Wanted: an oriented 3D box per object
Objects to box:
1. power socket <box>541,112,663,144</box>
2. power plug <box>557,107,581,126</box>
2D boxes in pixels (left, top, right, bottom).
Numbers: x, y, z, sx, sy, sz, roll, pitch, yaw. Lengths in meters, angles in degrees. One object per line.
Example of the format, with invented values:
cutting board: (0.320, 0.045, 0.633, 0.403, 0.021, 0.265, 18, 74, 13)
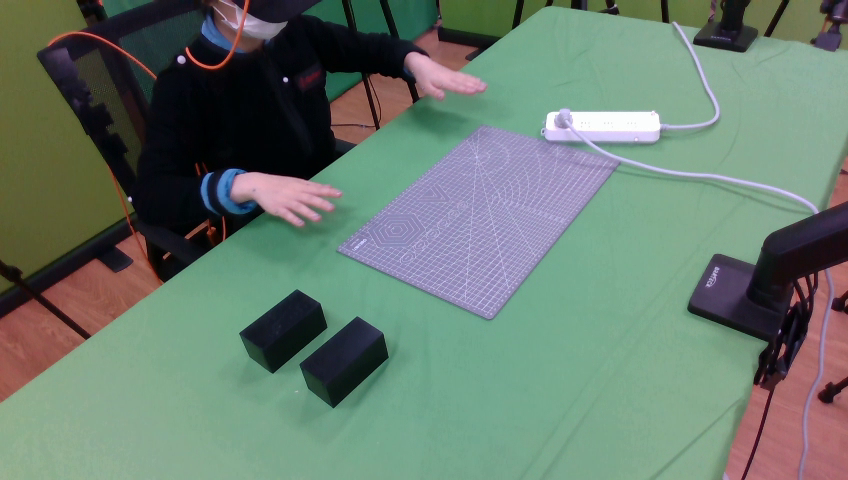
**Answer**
power socket: (0.341, -0.217, 1.164, 0.226, 0.033, 0.072, 4, 43, 12)
power plug: (0.286, -0.238, 1.162, 0.073, 0.035, 0.052, -14, 30, -42)
